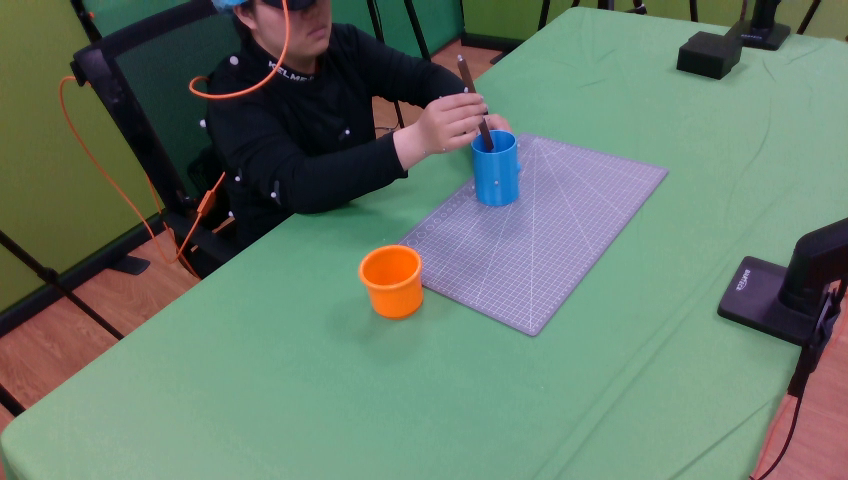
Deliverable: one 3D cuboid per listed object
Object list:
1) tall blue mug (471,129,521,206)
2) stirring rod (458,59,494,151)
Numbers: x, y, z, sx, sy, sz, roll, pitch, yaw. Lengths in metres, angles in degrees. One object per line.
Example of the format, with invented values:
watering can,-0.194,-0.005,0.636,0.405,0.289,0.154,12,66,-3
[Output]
tall blue mug,0.118,-0.132,1.046,0.078,0.108,0.106,-19,41,-10
stirring rod,0.084,-0.209,0.954,0.014,0.177,0.005,-37,45,-11
